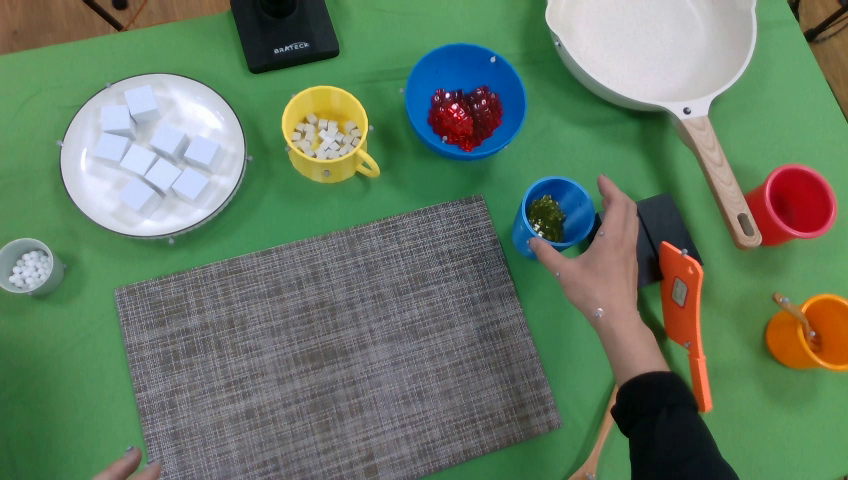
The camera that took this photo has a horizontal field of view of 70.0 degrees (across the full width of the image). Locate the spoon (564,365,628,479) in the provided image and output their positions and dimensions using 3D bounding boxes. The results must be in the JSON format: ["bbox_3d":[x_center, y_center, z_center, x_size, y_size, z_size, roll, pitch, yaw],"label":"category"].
[{"bbox_3d":[0.203,0.234,0.707,0.041,0.022,0.193,25,73,13],"label":"spoon"}]

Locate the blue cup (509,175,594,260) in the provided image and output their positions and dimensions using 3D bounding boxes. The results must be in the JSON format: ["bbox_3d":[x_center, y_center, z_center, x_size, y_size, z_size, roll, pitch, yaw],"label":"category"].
[{"bbox_3d":[0.143,-0.018,0.725,0.093,0.100,0.092,2,73,-7],"label":"blue cup"}]

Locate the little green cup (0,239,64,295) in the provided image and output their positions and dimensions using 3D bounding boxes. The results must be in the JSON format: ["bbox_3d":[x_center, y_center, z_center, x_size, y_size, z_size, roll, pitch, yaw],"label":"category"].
[{"bbox_3d":[-0.434,0.032,0.671,0.062,0.039,0.061,2,76,-7],"label":"little green cup"}]

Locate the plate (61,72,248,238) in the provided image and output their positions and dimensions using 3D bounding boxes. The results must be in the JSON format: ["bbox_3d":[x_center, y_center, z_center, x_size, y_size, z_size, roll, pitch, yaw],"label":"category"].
[{"bbox_3d":[-0.314,-0.100,0.723,0.208,0.039,0.206,2,75,-6],"label":"plate"}]

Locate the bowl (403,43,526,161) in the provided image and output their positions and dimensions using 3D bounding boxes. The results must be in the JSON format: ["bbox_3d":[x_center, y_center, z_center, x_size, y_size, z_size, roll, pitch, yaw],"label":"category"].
[{"bbox_3d":[0.045,-0.160,0.764,0.151,0.077,0.150,2,75,-6],"label":"bowl"}]

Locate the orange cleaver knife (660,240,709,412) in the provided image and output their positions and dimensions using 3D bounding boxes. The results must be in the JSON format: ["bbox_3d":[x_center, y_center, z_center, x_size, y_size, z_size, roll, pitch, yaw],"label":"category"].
[{"bbox_3d":[0.309,0.104,0.724,0.012,0.076,0.212,-16,106,-10],"label":"orange cleaver knife"}]

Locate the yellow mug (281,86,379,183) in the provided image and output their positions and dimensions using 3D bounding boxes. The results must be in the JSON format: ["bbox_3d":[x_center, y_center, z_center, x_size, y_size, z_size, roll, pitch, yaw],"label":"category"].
[{"bbox_3d":[-0.108,-0.118,0.739,0.131,0.064,0.099,36,74,2],"label":"yellow mug"}]

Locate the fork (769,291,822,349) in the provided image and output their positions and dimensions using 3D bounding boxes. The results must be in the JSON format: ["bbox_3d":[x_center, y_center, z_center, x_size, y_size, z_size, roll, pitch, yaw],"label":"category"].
[{"bbox_3d":[0.437,0.094,0.707,0.209,0.018,0.028,30,67,-44],"label":"fork"}]

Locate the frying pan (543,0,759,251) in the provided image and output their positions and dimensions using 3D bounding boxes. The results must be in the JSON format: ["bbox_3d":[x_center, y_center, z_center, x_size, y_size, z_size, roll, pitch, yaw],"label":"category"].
[{"bbox_3d":[0.323,-0.209,0.797,0.307,0.103,0.484,-10,69,-9],"label":"frying pan"}]
